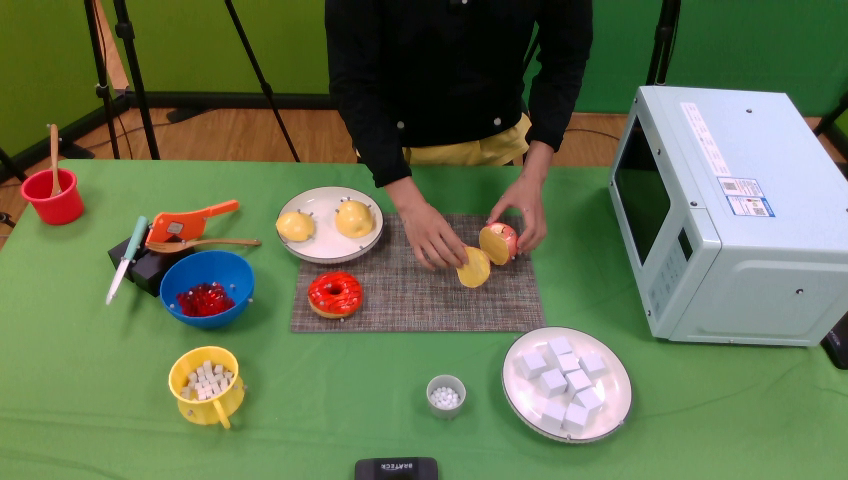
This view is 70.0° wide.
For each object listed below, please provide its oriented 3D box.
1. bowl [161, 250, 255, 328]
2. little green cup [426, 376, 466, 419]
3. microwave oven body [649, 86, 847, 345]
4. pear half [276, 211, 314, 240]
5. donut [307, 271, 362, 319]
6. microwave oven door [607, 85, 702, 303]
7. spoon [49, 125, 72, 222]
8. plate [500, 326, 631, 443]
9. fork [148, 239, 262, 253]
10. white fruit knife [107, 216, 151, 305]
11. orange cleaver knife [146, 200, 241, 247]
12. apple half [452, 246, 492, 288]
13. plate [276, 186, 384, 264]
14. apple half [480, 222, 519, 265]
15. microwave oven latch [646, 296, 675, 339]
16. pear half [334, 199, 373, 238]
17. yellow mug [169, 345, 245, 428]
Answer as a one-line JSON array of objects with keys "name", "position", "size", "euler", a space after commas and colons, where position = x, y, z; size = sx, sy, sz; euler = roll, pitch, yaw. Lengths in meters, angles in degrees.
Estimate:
[{"name": "bowl", "position": [-0.362, 0.097, 1.040], "size": [0.151, 0.077, 0.150], "euler": [2, 45, -2]}, {"name": "little green cup", "position": [0.033, 0.248, 0.950], "size": [0.061, 0.039, 0.061], "euler": [2, 46, -2]}, {"name": "microwave oven body", "position": [0.567, -0.053, 1.118], "size": [0.326, 0.261, 0.439], "euler": [2, 45, -1]}, {"name": "pear half", "position": [-0.244, -0.036, 1.179], "size": [0.070, 0.031, 0.088], "euler": [43, 42, 3]}, {"name": "donut", "position": [-0.157, 0.097, 1.073], "size": [0.099, 0.048, 0.098], "euler": [4, 45, -4]}, {"name": "microwave oven door", "position": [0.423, -0.094, 1.140], "size": [0.039, 0.245, 0.353], "euler": [2, 46, -1]}, {"name": "spoon", "position": [-0.717, -0.131, 1.189], "size": [0.042, 0.021, 0.193], "euler": [-3, 90, -7]}, {"name": "plate", "position": [0.224, 0.234, 0.978], "size": [0.208, 0.039, 0.206], "euler": [2, 46, -2]}, {"name": "fork", "position": [-0.398, 0.008, 1.117], "size": [0.208, 0.019, 0.028], "euler": [-5, 34, -37]}, {"name": "white fruit knife", "position": [-0.518, 0.032, 1.066], "size": [0.027, 0.016, 0.206], "euler": [-18, 45, 19]}, {"name": "orange cleaver knife", "position": [-0.435, -0.033, 1.157], "size": [0.012, 0.077, 0.211], "euler": [31, 26, 19]}, {"name": "apple half", "position": [0.093, 0.045, 1.096], "size": [0.081, 0.081, 0.033], "euler": [29, 29, 22]}, {"name": "plate", "position": [-0.184, -0.027, 1.195], "size": [0.209, 0.038, 0.208], "euler": [2, 46, -2]}, {"name": "apple half", "position": [0.150, 0.003, 1.154], "size": [0.053, 0.075, 0.080], "euler": [-28, 49, -33]}, {"name": "microwave oven latch", "position": [0.412, 0.134, 1.061], "size": [0.030, 0.029, 0.078], "euler": [4, 45, 1]}, {"name": "pear half", "position": [-0.147, -0.059, 1.210], "size": [0.076, 0.056, 0.109], "euler": [-16, 45, -25]}, {"name": "yellow mug", "position": [-0.322, 0.230, 0.922], "size": [0.100, 0.064, 0.130], "euler": [-24, 53, -25]}]
